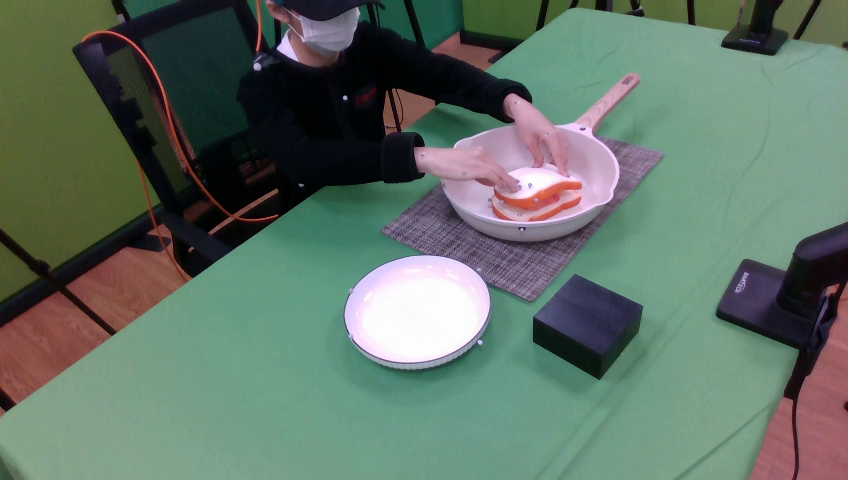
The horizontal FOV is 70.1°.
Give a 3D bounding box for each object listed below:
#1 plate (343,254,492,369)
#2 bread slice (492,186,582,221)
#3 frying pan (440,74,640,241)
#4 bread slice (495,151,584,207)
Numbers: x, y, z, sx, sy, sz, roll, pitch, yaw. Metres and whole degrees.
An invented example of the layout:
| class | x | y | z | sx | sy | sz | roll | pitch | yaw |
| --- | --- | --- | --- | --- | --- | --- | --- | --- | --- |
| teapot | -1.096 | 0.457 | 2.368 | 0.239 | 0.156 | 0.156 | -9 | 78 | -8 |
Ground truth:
| class | x | y | z | sx | sy | sz | roll | pitch | yaw |
| --- | --- | --- | --- | --- | --- | --- | --- | --- | --- |
| plate | -0.008 | 0.100 | 0.847 | 0.207 | 0.039 | 0.206 | -4 | 40 | 4 |
| bread slice | 0.183 | -0.064 | 1.017 | 0.135 | 0.018 | 0.106 | -26 | 42 | -24 |
| frying pan | 0.245 | -0.161 | 1.058 | 0.304 | 0.103 | 0.489 | 30 | 61 | 35 |
| bread slice | 0.181 | -0.100 | 0.986 | 0.132 | 0.019 | 0.104 | -38 | 36 | -20 |
